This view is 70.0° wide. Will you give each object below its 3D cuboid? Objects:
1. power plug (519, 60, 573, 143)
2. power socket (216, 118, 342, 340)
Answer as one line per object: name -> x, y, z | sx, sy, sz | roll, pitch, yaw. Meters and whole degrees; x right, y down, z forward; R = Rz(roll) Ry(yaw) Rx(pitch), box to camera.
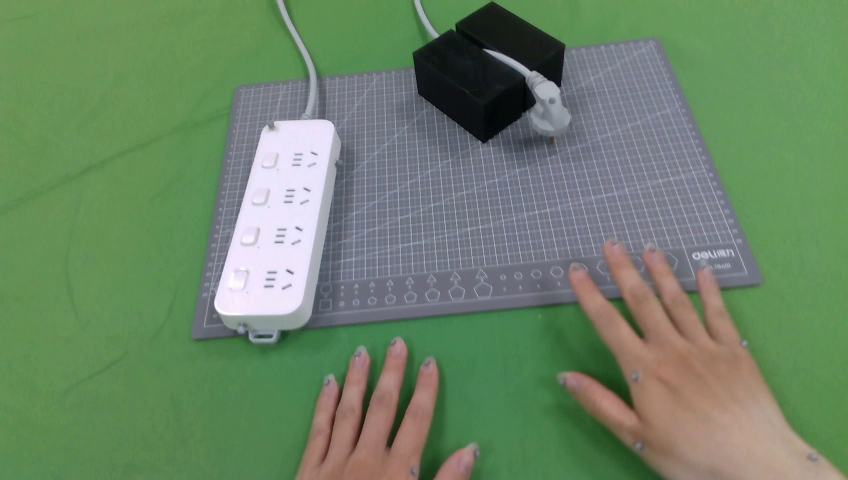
power plug -> 0.111, -0.126, 0.554 | 0.035, 0.053, 0.072 | -10, 58, -5
power socket -> -0.120, -0.022, 0.525 | 0.072, 0.033, 0.224 | 1, 55, 5
